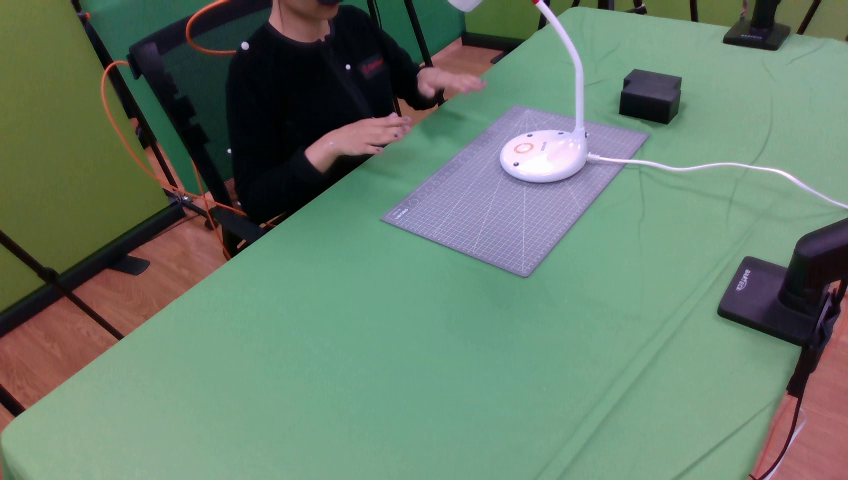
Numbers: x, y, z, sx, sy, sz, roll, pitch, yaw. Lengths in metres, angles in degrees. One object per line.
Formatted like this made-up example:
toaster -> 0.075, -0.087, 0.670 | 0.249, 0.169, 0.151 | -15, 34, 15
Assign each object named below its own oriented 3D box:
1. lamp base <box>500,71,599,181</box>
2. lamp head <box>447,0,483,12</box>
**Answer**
lamp base -> 0.223, -0.217, 1.068 | 0.179, 0.181, 0.160 | 2, 42, 10
lamp head -> 0.084, -0.423, 0.915 | 0.122, 0.113, 0.112 | -21, 31, 36
